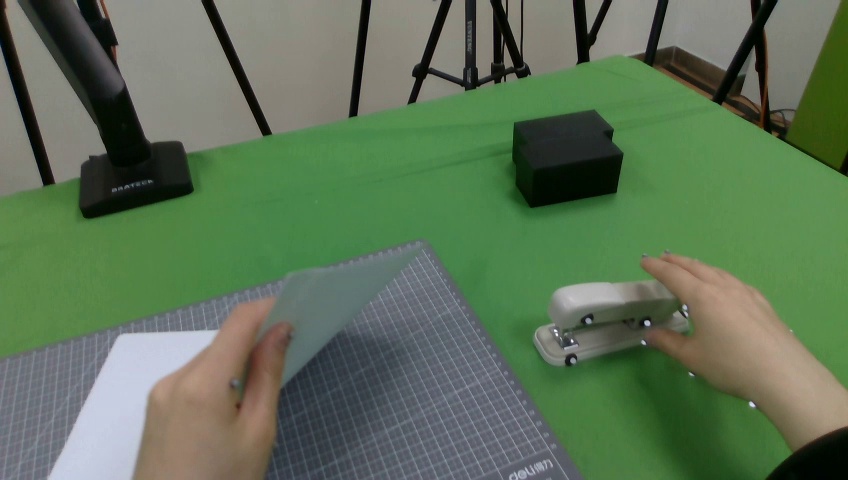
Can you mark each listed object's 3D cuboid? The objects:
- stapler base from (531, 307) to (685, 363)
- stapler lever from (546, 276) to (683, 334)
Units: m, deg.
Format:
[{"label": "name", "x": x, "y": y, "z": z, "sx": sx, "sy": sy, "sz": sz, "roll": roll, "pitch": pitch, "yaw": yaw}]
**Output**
[{"label": "stapler base", "x": 0.154, "y": 0.067, "z": 0.504, "sx": 0.131, "sy": 0.024, "sz": 0.041, "roll": -12, "pitch": 43, "yaw": -14}, {"label": "stapler lever", "x": 0.155, "y": 0.047, "z": 0.489, "sx": 0.118, "sy": 0.040, "sz": 0.026, "roll": -13, "pitch": 43, "yaw": -13}]
